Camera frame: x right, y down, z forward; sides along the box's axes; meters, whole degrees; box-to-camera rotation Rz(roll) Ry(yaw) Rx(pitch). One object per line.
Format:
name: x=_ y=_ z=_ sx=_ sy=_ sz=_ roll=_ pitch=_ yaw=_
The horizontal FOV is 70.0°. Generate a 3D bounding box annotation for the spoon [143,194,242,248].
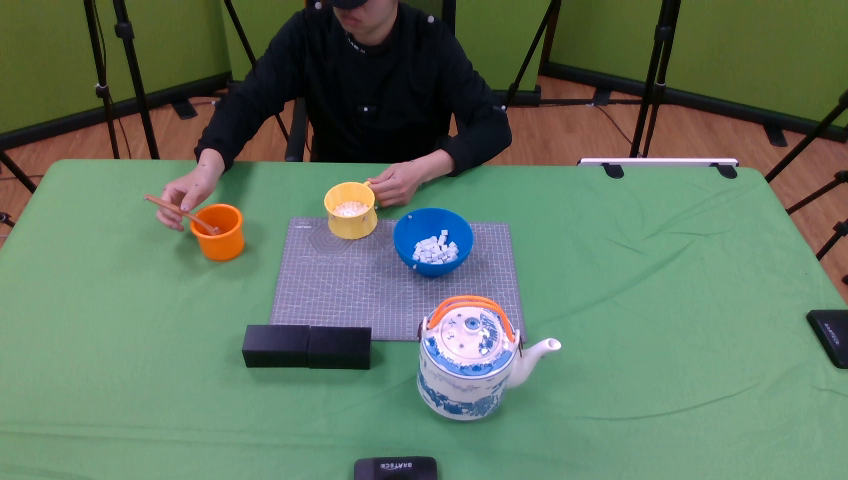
spoon: x=-0.421 y=-0.036 z=1.113 sx=0.021 sy=0.195 sz=0.041 roll=-36 pitch=38 yaw=24

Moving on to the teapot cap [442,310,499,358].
teapot cap: x=0.068 y=0.133 z=0.880 sx=0.085 sy=0.044 sz=0.084 roll=4 pitch=45 yaw=-4

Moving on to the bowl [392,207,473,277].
bowl: x=0.014 y=0.017 z=1.140 sx=0.151 sy=0.077 sz=0.150 roll=2 pitch=46 yaw=-2

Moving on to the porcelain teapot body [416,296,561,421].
porcelain teapot body: x=0.094 y=0.164 z=0.907 sx=0.205 sy=0.226 sz=0.144 roll=6 pitch=45 yaw=1

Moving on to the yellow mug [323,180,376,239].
yellow mug: x=-0.140 y=-0.071 z=1.214 sx=0.099 sy=0.064 sz=0.130 roll=21 pitch=52 yaw=18
